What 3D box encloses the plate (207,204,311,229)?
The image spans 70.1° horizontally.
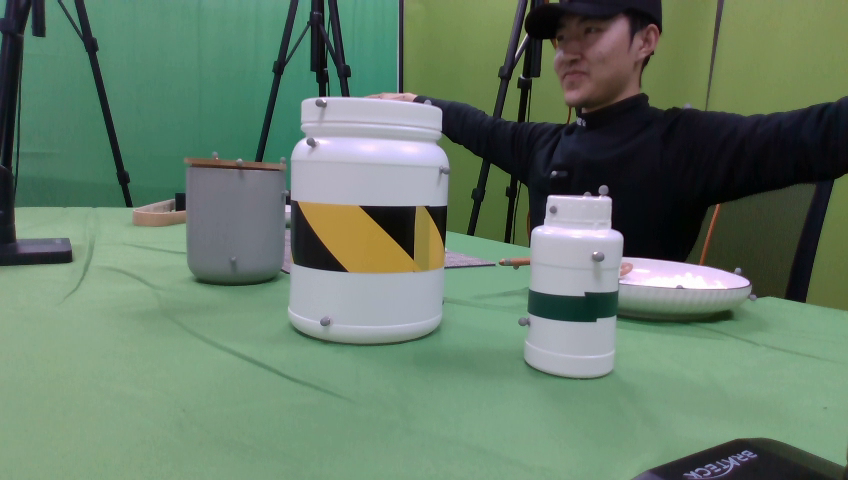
[{"bbox_3d":[-0.342,-0.050,1.259,0.208,0.039,0.207,2,7,0],"label":"plate"}]

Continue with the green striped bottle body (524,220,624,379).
[{"bbox_3d":[0.104,0.030,0.422,0.063,0.119,0.063,2,8,0],"label":"green striped bottle body"}]

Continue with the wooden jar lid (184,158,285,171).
[{"bbox_3d":[-0.210,-0.078,0.674,0.108,0.020,0.108,5,6,0],"label":"wooden jar lid"}]

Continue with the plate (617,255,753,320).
[{"bbox_3d":[0.234,0.049,0.651,0.209,0.038,0.209,2,7,0],"label":"plate"}]

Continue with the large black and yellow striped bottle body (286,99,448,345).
[{"bbox_3d":[-0.047,-0.018,0.501,0.131,0.184,0.130,2,7,0],"label":"large black and yellow striped bottle body"}]

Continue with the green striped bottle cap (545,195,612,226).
[{"bbox_3d":[0.106,-0.020,0.414,0.044,0.020,0.044,2,4,0],"label":"green striped bottle cap"}]

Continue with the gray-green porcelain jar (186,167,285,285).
[{"bbox_3d":[-0.212,-0.017,0.682,0.106,0.126,0.106,2,7,0],"label":"gray-green porcelain jar"}]

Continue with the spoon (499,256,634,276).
[{"bbox_3d":[0.162,0.027,0.679,0.195,0.021,0.041,8,2,-30],"label":"spoon"}]

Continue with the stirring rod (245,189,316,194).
[{"bbox_3d":[-0.351,-0.120,1.490,0.177,0.014,0.006,-2,6,-29],"label":"stirring rod"}]

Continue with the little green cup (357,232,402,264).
[{"bbox_3d":[-0.060,0.011,0.825,0.061,0.038,0.061,1,7,0],"label":"little green cup"}]

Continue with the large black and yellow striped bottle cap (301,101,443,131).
[{"bbox_3d":[-0.042,-0.100,0.491,0.115,0.019,0.115,1,8,0],"label":"large black and yellow striped bottle cap"}]

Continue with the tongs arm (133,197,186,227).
[{"bbox_3d":[-0.556,-0.066,1.320,0.051,0.026,0.384,7,8,-5],"label":"tongs arm"}]

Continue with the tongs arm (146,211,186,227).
[{"bbox_3d":[-0.478,-0.059,1.321,0.028,0.028,0.388,12,9,7],"label":"tongs arm"}]

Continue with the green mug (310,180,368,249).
[{"bbox_3d":[-0.131,-0.044,0.981,0.092,0.105,0.125,4,8,14],"label":"green mug"}]
